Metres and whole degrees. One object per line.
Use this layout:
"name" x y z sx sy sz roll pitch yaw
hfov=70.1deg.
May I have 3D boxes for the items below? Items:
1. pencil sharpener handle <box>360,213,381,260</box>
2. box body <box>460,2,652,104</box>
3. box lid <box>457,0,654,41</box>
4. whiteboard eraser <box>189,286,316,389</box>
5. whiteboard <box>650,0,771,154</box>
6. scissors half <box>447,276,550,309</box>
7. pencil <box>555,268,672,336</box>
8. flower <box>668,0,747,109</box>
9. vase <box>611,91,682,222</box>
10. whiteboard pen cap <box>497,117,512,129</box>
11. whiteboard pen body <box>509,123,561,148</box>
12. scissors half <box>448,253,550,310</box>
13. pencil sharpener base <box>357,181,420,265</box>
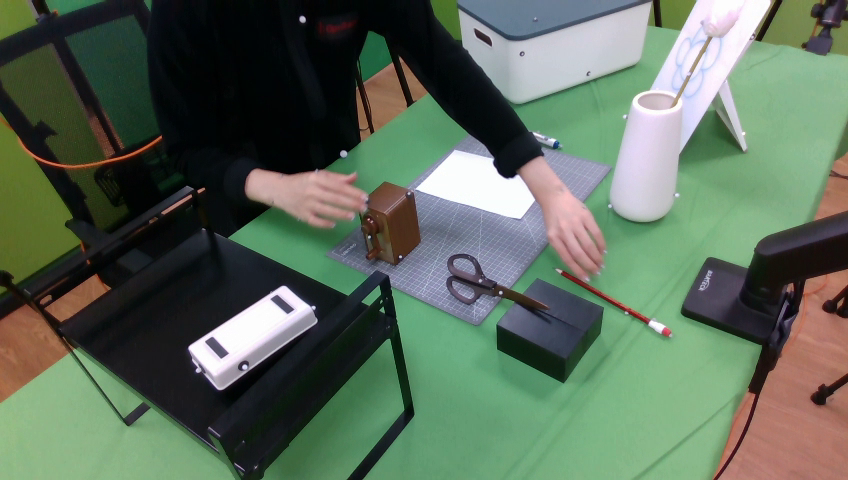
"pencil sharpener handle" -0.083 -0.004 0.901 0.035 0.068 0.031 13 43 37
"box body" 0.291 -0.465 1.371 0.365 0.161 0.252 -22 42 -16
"box lid" 0.285 -0.522 1.323 0.373 0.015 0.261 -22 43 -16
"whiteboard eraser" -0.166 0.096 0.593 0.113 0.042 0.055 -36 47 -29
"whiteboard" 0.543 -0.298 1.076 0.144 0.305 0.216 12 40 -7
"scissors half" 0.098 0.077 0.827 0.174 0.040 0.013 5 15 45
"pencil" 0.260 0.082 0.851 0.012 0.012 0.192 -33 45 -27
"flower" 0.354 -0.187 0.879 0.038 0.362 0.044 30 48 14
"vase" 0.348 -0.125 0.935 0.098 0.201 0.097 -3 40 3
"whiteboard pen cap" 0.165 -0.235 1.226 0.033 0.018 0.018 32 53 31
"whiteboard pen body" 0.209 -0.211 1.195 0.139 0.017 0.017 29 52 33
"scissors half" 0.098 0.058 0.821 0.173 0.040 0.013 27 34 37
"pencil sharpener base" -0.055 -0.024 0.941 0.061 0.107 0.077 21 48 29
